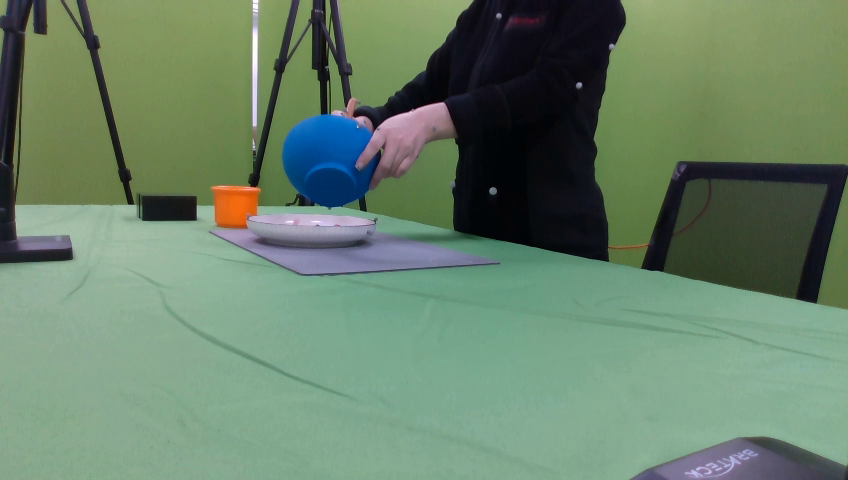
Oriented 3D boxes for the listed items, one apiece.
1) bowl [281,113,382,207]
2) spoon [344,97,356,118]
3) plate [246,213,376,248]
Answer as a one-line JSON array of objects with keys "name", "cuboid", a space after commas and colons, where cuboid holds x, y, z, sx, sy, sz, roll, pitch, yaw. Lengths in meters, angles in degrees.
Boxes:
[{"name": "bowl", "cuboid": [-0.137, -0.101, 0.889, 0.152, 0.151, 0.076, 1, 43, -6]}, {"name": "spoon", "cuboid": [-0.138, -0.157, 0.990, 0.041, 0.193, 0.021, 9, -30, 2]}, {"name": "plate", "cuboid": [-0.185, -0.017, 0.994, 0.209, 0.038, 0.209, 3, 8, 0]}]
